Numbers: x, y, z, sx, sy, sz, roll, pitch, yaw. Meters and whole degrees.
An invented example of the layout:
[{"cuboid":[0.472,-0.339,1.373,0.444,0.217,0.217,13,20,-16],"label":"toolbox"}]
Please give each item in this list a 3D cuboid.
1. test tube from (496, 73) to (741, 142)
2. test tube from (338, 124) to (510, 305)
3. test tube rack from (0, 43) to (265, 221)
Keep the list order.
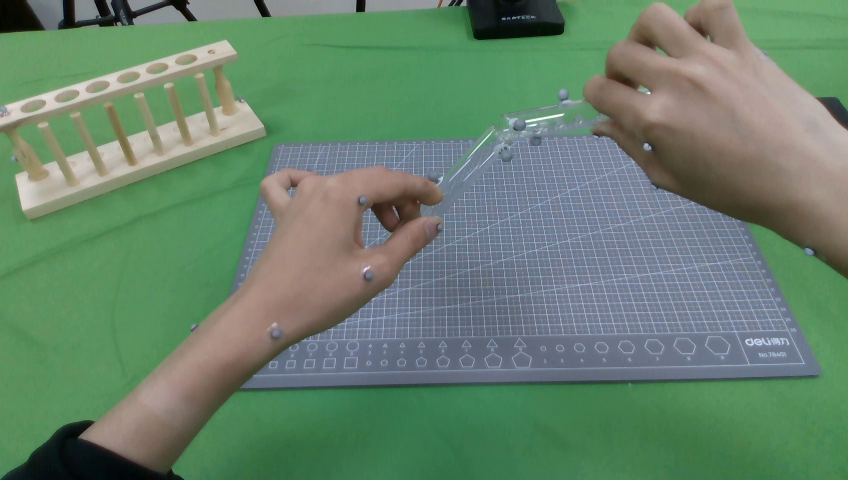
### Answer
[{"cuboid":[0.112,-0.075,0.340,0.150,0.017,0.017,-12,46,-12],"label":"test tube"},{"cuboid":[-0.005,-0.010,0.358,0.017,0.151,0.017,35,27,-20],"label":"test tube"},{"cuboid":[-0.295,-0.114,0.613,0.242,0.086,0.066,-25,49,-20],"label":"test tube rack"}]
